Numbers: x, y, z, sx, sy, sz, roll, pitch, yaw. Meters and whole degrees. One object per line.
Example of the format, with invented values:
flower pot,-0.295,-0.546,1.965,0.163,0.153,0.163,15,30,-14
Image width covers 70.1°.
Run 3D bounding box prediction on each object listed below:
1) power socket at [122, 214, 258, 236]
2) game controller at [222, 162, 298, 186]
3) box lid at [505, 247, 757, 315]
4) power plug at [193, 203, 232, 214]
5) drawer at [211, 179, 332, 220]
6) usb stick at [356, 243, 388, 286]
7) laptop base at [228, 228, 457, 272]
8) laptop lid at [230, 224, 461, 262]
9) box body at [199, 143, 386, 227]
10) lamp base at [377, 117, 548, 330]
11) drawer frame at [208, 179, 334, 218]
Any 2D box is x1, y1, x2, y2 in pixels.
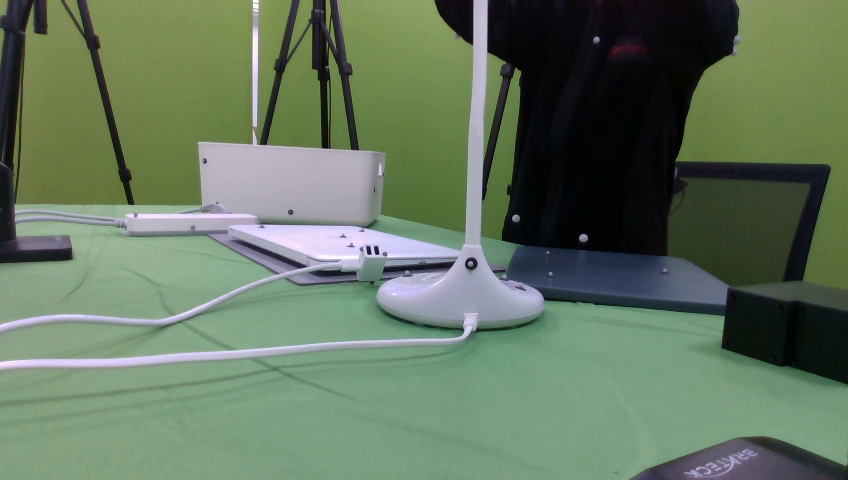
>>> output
power socket,-0.398,-0.028,1.049,0.228,0.032,0.072,-3,8,-34
game controller,-0.357,-0.143,1.322,0.156,0.051,0.097,1,2,-16
box lid,0.244,0.044,0.793,0.263,0.015,0.372,4,7,11
power plug,-0.393,-0.042,1.139,0.072,0.052,0.035,-14,1,31
drawer,-0.328,-0.095,1.332,0.212,0.073,0.194,5,8,6
usb stick,-0.058,0.029,0.658,0.027,0.059,0.021,-5,52,-18
laptop base,-0.122,0.011,0.889,0.237,0.023,0.352,2,6,-35
laptop lid,-0.119,0.000,0.889,0.243,0.013,0.355,1,7,-33
box body,-0.276,-0.124,1.335,0.364,0.160,0.254,3,7,1
lamp base,0.041,-0.020,0.550,0.161,0.180,0.179,1,11,-10
drawer frame,-0.327,-0.093,1.328,0.213,0.082,0.202,0,5,6
